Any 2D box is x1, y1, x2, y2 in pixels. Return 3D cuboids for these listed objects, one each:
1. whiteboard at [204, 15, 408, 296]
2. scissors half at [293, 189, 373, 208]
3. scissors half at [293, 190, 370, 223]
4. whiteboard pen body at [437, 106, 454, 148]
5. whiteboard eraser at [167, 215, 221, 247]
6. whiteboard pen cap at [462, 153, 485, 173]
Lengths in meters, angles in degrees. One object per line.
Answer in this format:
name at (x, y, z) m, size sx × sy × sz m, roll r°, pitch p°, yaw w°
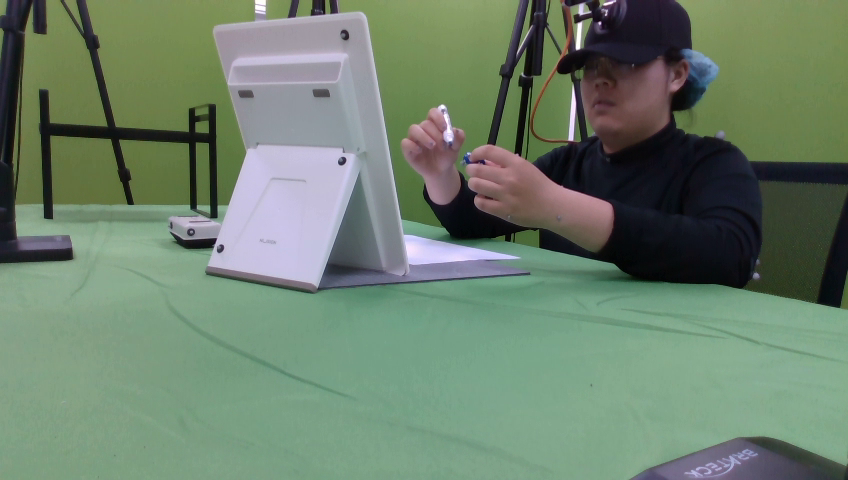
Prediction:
whiteboard at (-0.166, -0.072, 0.669) m, size 0.216 × 0.305 × 0.144 m, roll 8°, pitch 30°, yaw 30°
scissors half at (-0.201, -0.096, 1.333) m, size 0.175 × 0.040 × 0.013 m, roll 5°, pitch 18°, yaw -4°
scissors half at (-0.205, -0.077, 1.338) m, size 0.175 × 0.040 × 0.013 m, roll 22°, pitch 11°, yaw -8°
whiteboard pen body at (0.033, -0.169, 0.903) m, size 0.017 × 0.017 × 0.140 m, roll 2°, pitch 34°, yaw -6°
whiteboard eraser at (-0.350, -0.014, 0.920) m, size 0.056 × 0.042 × 0.112 m, roll 0°, pitch 7°, yaw -35°
whiteboard pen cap at (0.065, -0.104, 0.810) m, size 0.018 × 0.018 × 0.033 m, roll -3°, pitch 34°, yaw -37°
